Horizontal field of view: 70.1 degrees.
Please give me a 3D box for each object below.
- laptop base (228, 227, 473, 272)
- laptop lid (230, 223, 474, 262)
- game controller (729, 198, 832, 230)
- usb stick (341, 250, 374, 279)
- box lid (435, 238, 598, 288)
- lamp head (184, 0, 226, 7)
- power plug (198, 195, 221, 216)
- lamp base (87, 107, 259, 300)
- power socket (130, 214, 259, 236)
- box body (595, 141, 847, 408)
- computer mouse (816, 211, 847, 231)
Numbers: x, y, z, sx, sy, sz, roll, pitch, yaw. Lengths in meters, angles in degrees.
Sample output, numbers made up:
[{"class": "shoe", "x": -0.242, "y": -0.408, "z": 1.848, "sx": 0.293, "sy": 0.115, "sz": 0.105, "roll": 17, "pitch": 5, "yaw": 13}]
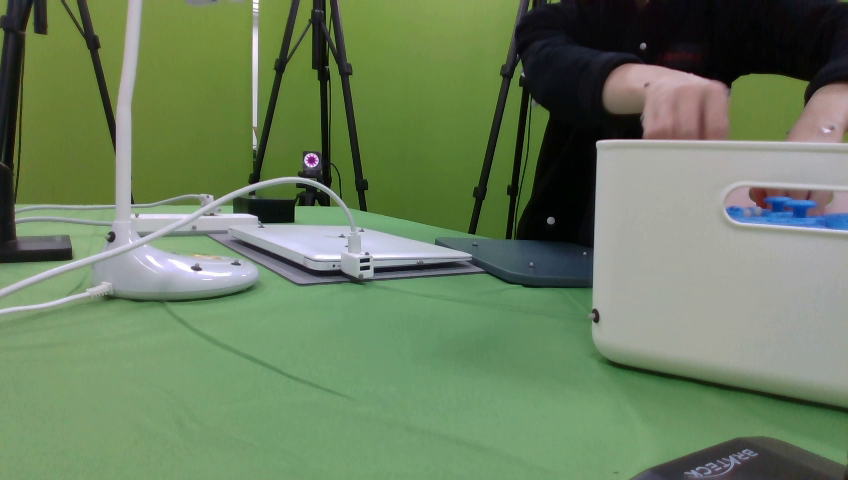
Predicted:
[{"class": "laptop base", "x": -0.123, "y": 0.011, "z": 0.889, "sx": 0.237, "sy": 0.023, "sz": 0.352, "roll": 2, "pitch": 6, "yaw": -35}, {"class": "laptop lid", "x": -0.121, "y": 0.000, "z": 0.888, "sx": 0.243, "sy": 0.013, "sz": 0.355, "roll": 1, "pitch": 7, "yaw": -33}, {"class": "game controller", "x": 0.258, "y": -0.004, "z": 0.445, "sx": 0.097, "sy": 0.051, "sz": 0.155, "roll": 0, "pitch": 7, "yaw": 14}, {"class": "usb stick", "x": -0.078, "y": 0.026, "z": 0.686, "sx": 0.021, "sy": 0.027, "sz": 0.059, "roll": -7, "pitch": 8, "yaw": -29}, {"class": "box lid", "x": 0.185, "y": 0.029, "z": 0.896, "sx": 0.264, "sy": 0.015, "sz": 0.370, "roll": 1, "pitch": 7, "yaw": -16}, {"class": "lamp head", "x": -0.229, "y": -0.320, "z": 0.627, "sx": 0.112, "sy": 0.112, "sz": 0.123, "roll": 6, "pitch": -35, "yaw": 26}, {"class": "power plug", "x": -0.386, "y": -0.055, "z": 1.088, "sx": 0.035, "sy": 0.052, "sz": 0.072, "roll": -1, "pitch": 6, "yaw": -24}, {"class": "lamp base", "x": -0.254, "y": -0.039, "z": 0.603, "sx": 0.160, "sy": 0.180, "sz": 0.179, "roll": 5, "pitch": 10, "yaw": 18}, {"class": "power socket", "x": -0.397, "y": -0.028, "z": 1.048, "sx": 0.228, "sy": 0.032, "sz": 0.072, "roll": -3, "pitch": 7, "yaw": -35}, {"class": "box body", "x": 0.309, "y": 0.007, "z": 0.509, "sx": 0.253, "sy": 0.160, "sz": 0.366, "roll": 6, "pitch": 8, "yaw": 29}, {"class": "computer mouse", "x": 0.341, "y": 0.001, "z": 0.466, "sx": 0.062, "sy": 0.041, "sz": 0.117, "roll": 7, "pitch": 14, "yaw": 20}]
